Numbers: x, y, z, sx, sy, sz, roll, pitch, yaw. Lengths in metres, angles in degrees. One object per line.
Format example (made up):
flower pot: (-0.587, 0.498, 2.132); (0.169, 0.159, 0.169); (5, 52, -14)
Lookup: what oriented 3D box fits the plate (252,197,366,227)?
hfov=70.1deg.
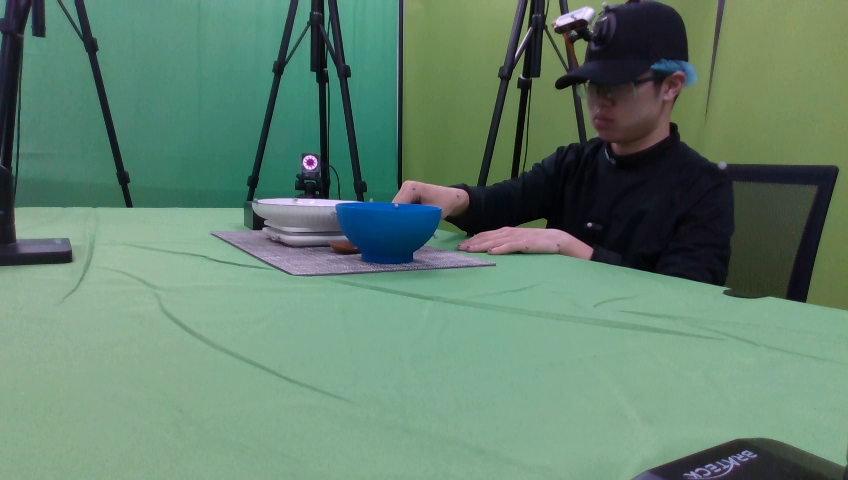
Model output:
plate: (-0.179, -0.047, 1.012); (0.209, 0.038, 0.209); (2, 6, 0)

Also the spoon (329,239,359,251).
spoon: (-0.063, -0.009, 0.949); (0.195, 0.021, 0.041); (-16, 29, -38)

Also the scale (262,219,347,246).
scale: (-0.160, -0.015, 1.028); (0.202, 0.031, 0.148); (-2, 8, -32)

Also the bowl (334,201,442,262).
bowl: (-0.051, -0.012, 0.848); (0.151, 0.077, 0.151); (2, 7, 0)
